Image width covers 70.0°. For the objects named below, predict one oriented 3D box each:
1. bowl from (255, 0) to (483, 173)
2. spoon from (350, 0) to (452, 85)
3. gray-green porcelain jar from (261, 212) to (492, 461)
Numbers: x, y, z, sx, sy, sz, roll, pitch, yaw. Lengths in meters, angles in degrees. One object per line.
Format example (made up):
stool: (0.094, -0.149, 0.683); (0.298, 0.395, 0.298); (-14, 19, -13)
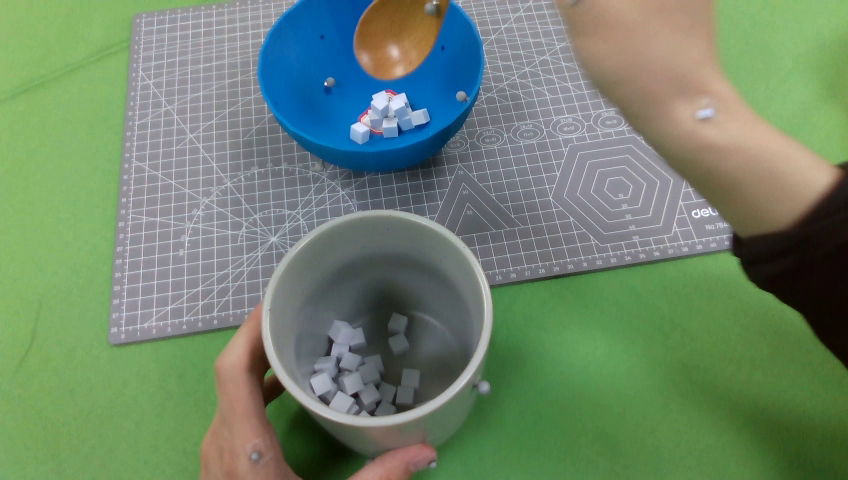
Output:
bowl: (-0.035, -0.101, 0.432); (0.151, 0.077, 0.150); (0, 63, 1)
spoon: (0.029, -0.136, 0.280); (0.042, 0.193, 0.021); (50, 42, -10)
gray-green porcelain jar: (-0.020, 0.060, 0.329); (0.106, 0.127, 0.105); (0, 63, 1)
